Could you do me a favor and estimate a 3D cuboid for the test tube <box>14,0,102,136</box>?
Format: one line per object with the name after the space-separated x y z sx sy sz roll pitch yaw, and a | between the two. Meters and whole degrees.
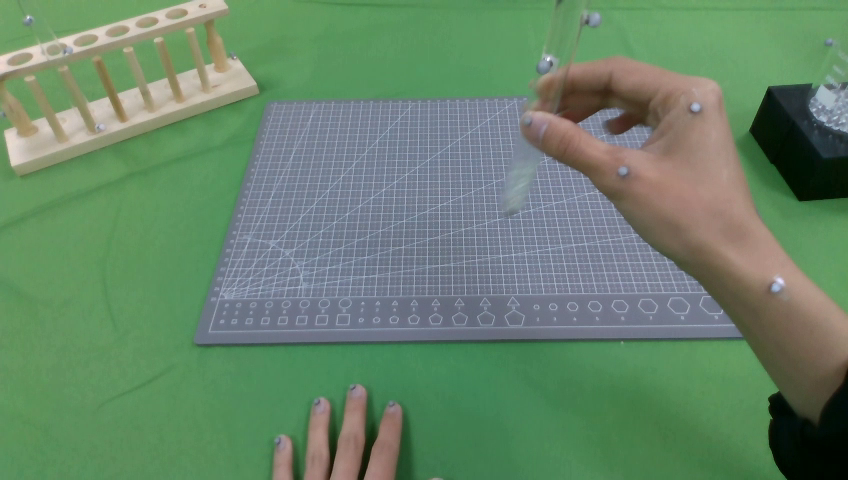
-0.328 -0.157 0.543 0.017 0.152 0.017 -1 46 2 | test tube

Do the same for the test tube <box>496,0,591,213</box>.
0.056 -0.063 0.306 0.017 0.151 0.017 3 54 -4 | test tube

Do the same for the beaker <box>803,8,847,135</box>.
0.358 -0.143 0.485 0.074 0.101 0.083 -22 50 -16 | beaker

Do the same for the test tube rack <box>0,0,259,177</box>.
-0.299 -0.156 0.600 0.242 0.086 0.066 -25 52 -19 | test tube rack
